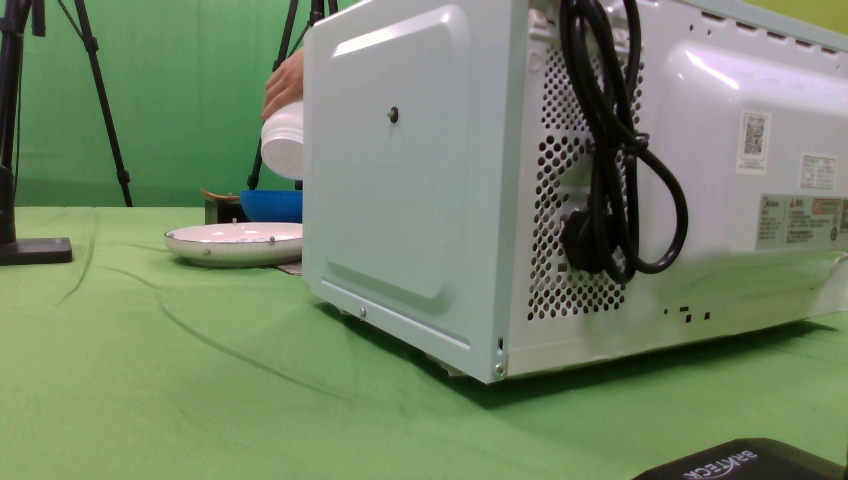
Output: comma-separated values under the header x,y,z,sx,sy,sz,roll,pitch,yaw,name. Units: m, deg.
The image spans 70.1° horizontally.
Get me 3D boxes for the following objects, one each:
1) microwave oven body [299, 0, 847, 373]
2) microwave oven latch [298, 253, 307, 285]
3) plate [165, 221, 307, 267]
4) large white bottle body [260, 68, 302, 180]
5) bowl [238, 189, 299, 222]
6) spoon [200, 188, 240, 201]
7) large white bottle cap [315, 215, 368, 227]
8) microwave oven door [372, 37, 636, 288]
x,y,z,sx,sy,sz,roll,pitch,yaw,name
0.151,-0.055,0.542,0.444,0.260,0.324,-2,7,-33,microwave oven body
-0.081,0.027,0.582,0.079,0.029,0.030,-1,7,-32,microwave oven latch
-0.241,0.004,0.829,0.209,0.038,0.209,0,9,0,plate
-0.227,-0.215,1.128,0.130,0.184,0.131,5,-36,4,large white bottle body
-0.245,-0.046,1.052,0.151,0.077,0.151,3,7,0,bowl
-0.338,-0.080,1.190,0.194,0.021,0.041,5,3,-19,spoon
-0.177,-0.041,1.309,0.115,0.018,0.115,2,6,0,large white bottle cap
0.110,-0.080,0.686,0.358,0.243,0.039,-2,9,-33,microwave oven door
